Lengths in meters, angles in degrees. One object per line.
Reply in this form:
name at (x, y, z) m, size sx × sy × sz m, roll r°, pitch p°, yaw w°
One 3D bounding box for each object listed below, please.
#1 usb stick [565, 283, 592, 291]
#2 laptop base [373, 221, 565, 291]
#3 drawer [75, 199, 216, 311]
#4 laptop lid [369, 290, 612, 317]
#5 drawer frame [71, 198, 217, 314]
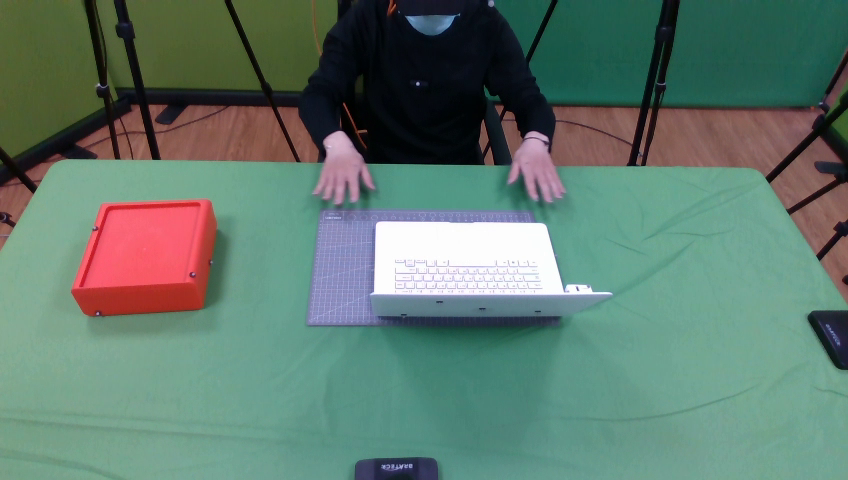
usb stick at (0.276, 0.095, 1.113) m, size 0.059 × 0.027 × 0.021 m, roll -1°, pitch 47°, yaw -6°
laptop base at (0.080, 0.049, 1.158) m, size 0.355 × 0.023 × 0.234 m, roll 0°, pitch 43°, yaw -4°
drawer at (-0.494, 0.023, 1.097) m, size 0.195 × 0.073 × 0.210 m, roll -2°, pitch 47°, yaw -8°
laptop lid at (0.091, 0.104, 0.965) m, size 0.357 × 0.242 × 0.013 m, roll 1°, pitch 75°, yaw -5°
drawer frame at (-0.493, 0.023, 1.096) m, size 0.202 × 0.083 × 0.212 m, roll -3°, pitch 47°, yaw -8°
